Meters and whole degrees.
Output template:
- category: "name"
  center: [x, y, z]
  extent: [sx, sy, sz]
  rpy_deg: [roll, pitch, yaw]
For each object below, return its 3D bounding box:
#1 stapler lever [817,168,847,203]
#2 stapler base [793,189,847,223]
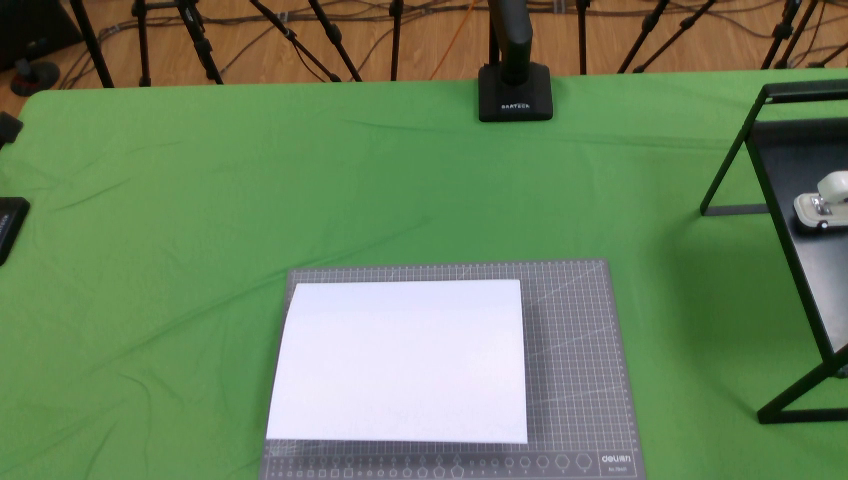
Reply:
- category: "stapler lever"
  center: [0.465, -0.056, 0.621]
  extent: [0.118, 0.040, 0.026]
  rpy_deg: [-3, 62, 1]
- category: "stapler base"
  center: [0.465, -0.043, 0.641]
  extent: [0.130, 0.024, 0.041]
  rpy_deg: [-3, 62, 1]
